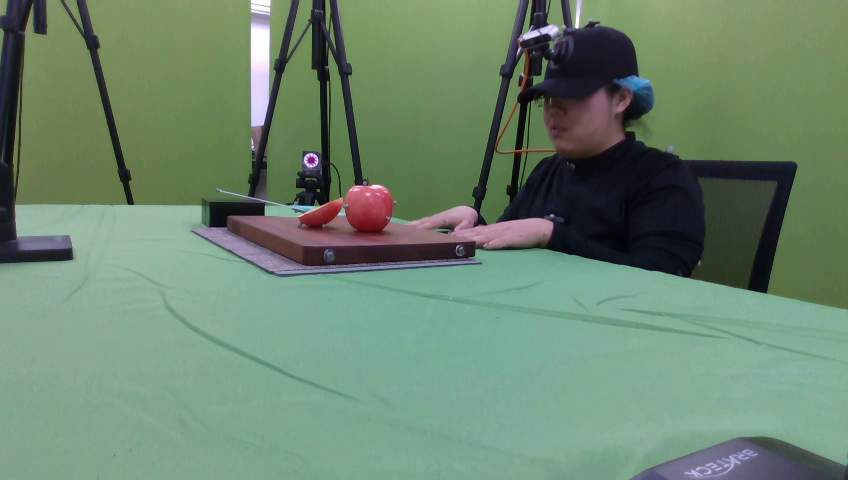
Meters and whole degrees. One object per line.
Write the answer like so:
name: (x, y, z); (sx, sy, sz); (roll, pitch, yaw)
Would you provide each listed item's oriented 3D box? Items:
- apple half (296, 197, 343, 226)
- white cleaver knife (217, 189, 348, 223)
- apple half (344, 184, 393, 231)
apple half: (-0.163, -0.041, 0.979); (0.081, 0.033, 0.081); (-21, 7, 3)
white cleaver knife: (-0.275, -0.066, 1.233); (0.288, 0.021, 0.065); (11, 6, -29)
apple half: (-0.079, -0.049, 0.947); (0.053, 0.074, 0.081); (15, 10, 41)
